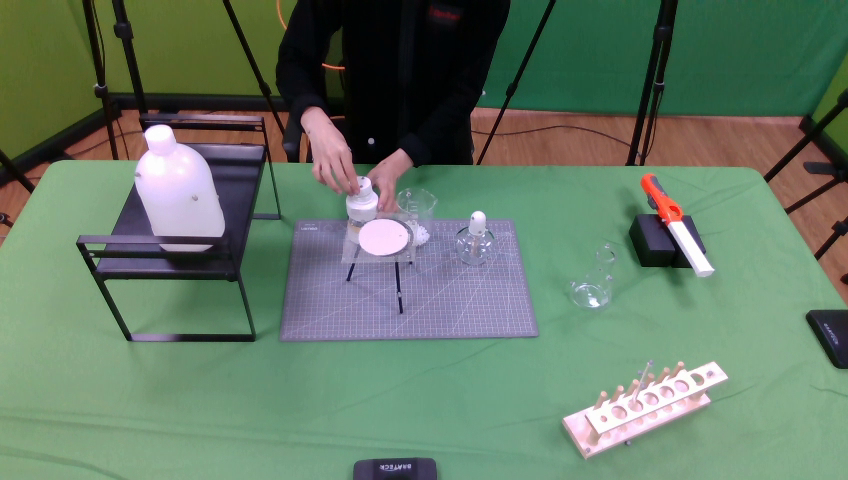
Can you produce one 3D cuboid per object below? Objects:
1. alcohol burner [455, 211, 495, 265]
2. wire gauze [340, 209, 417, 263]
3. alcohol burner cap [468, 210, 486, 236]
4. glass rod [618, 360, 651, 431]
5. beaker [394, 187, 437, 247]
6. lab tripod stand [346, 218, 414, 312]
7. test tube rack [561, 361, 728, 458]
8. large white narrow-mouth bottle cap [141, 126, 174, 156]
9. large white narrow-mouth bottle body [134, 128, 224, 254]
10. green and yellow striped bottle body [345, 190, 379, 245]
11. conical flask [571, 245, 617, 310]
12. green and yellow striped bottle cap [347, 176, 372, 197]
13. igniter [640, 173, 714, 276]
[{"bbox_3d":[0.097,-0.010,1.147,0.078,0.120,0.077,1,47,0],"label":"alcohol burner"},{"bbox_3d":[-0.074,-0.007,1.023,0.121,0.011,0.124,3,46,0],"label":"wire gauze"},{"bbox_3d":[0.099,-0.034,1.119,0.034,0.048,0.033,0,53,0],"label":"alcohol burner cap"},{"bbox_3d":[0.298,0.227,0.865,0.008,0.201,0.008,-2,48,2],"label":"glass rod"},{"bbox_3d":[-0.018,-0.042,1.179,0.084,0.101,0.073,-8,48,-13],"label":"beaker"},{"bbox_3d":[-0.070,0.037,1.075,0.148,0.132,0.147,1,48,-1],"label":"lab tripod stand"},{"bbox_3d":[0.341,0.248,0.940,0.243,0.085,0.066,-15,49,-18],"label":"test tube rack"},{"bbox_3d":[-0.356,-0.133,0.811,0.038,0.024,0.037,2,48,-2],"label":"large white narrow-mouth bottle cap"},{"bbox_3d":[-0.358,-0.075,0.875,0.102,0.195,0.101,1,48,-1],"label":"large white narrow-mouth bottle body"},{"bbox_3d":[-0.119,-0.053,1.167,0.063,0.120,0.063,2,46,-2],"label":"green and yellow striped bottle body"},{"bbox_3d":[0.313,0.064,1.089,0.075,0.122,0.075,2,46,-2],"label":"conical flask"},{"bbox_3d":[-0.120,-0.100,1.118,0.045,0.020,0.045,-2,41,2],"label":"green and yellow striped bottle cap"},{"bbox_3d":[0.495,-0.039,1.204,0.057,0.025,0.274,-2,47,-12],"label":"igniter"}]
